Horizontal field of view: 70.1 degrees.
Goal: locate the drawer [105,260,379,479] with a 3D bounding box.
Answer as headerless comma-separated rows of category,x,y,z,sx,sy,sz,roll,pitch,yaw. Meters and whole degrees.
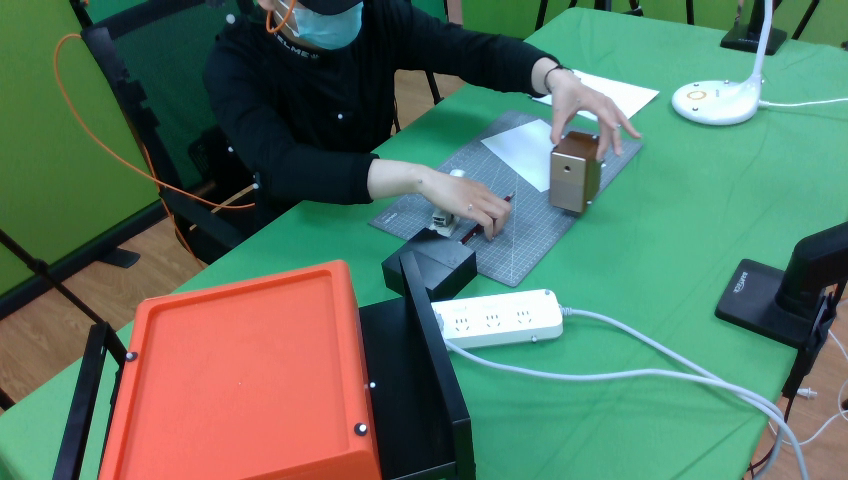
drawer,-0.150,0.127,0.525,0.195,0.073,0.210,-11,41,-5

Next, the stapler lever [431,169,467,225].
stapler lever,0.043,-0.074,1.010,0.026,0.040,0.118,9,44,21

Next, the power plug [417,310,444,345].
power plug,0.006,0.122,0.785,0.035,0.053,0.072,0,40,9

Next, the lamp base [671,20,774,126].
lamp base,0.581,-0.332,1.154,0.179,0.181,0.160,2,41,7

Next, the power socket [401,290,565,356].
power socket,0.080,0.112,0.822,0.227,0.033,0.072,-6,41,0

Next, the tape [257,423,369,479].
tape,-0.121,0.262,0.660,0.117,0.053,0.116,-4,40,4

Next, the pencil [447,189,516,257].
pencil,0.099,-0.033,0.997,0.012,0.012,0.194,24,51,32

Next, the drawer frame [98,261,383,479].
drawer frame,-0.148,0.129,0.519,0.202,0.083,0.212,-12,41,-6

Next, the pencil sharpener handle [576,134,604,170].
pencil sharpener handle,0.273,-0.147,0.980,0.035,0.068,0.031,-2,34,43

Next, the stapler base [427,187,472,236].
stapler base,0.045,-0.057,1.028,0.041,0.024,0.130,10,44,20

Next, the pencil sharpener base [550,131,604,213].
pencil sharpener base,0.243,-0.109,0.960,0.061,0.107,0.077,18,46,29
